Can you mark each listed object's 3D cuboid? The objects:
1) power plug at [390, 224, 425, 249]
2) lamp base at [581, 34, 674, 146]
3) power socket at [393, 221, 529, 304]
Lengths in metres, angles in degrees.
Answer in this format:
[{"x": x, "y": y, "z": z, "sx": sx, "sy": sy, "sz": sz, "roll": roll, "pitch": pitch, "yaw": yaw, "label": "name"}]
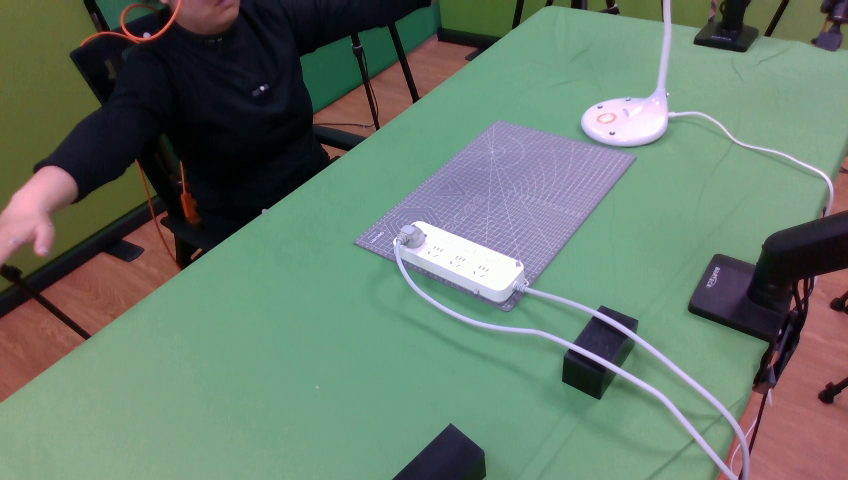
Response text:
[{"x": -0.030, "y": 0.004, "z": 0.920, "sx": 0.073, "sy": 0.053, "sz": 0.035, "roll": -34, "pitch": 47, "yaw": -26, "label": "power plug"}, {"x": 0.392, "y": -0.291, "z": 1.129, "sx": 0.180, "sy": 0.181, "sz": 0.159, "roll": -11, "pitch": 41, "yaw": -8, "label": "lamp base"}, {"x": 0.049, "y": 0.030, "z": 0.914, "sx": 0.225, "sy": 0.033, "sz": 0.072, "roll": 24, "pitch": 51, "yaw": 31, "label": "power socket"}]
